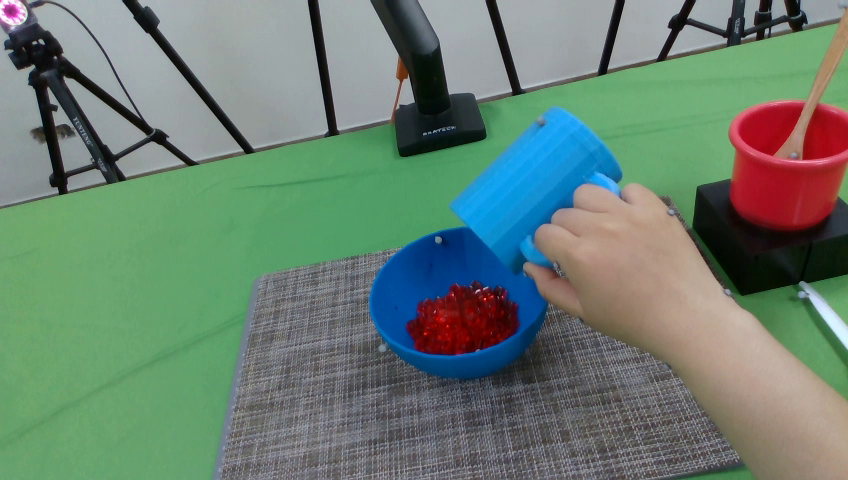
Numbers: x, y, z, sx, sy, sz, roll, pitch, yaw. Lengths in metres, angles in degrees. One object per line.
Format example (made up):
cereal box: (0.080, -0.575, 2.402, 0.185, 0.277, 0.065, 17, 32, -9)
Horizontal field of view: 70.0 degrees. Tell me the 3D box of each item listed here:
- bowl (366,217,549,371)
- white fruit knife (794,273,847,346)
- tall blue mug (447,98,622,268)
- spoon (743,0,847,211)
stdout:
bowl: (0.033, 0.059, 0.517, 0.151, 0.077, 0.150, -8, 41, 8)
white fruit knife: (0.331, 0.094, 0.446, 0.027, 0.016, 0.205, 10, 37, -13)
tall blue mug: (0.084, -0.039, 0.443, 0.108, 0.078, 0.106, -43, 12, 4)
spoon: (0.322, -0.114, 0.506, 0.041, 0.022, 0.194, 27, 99, 40)
